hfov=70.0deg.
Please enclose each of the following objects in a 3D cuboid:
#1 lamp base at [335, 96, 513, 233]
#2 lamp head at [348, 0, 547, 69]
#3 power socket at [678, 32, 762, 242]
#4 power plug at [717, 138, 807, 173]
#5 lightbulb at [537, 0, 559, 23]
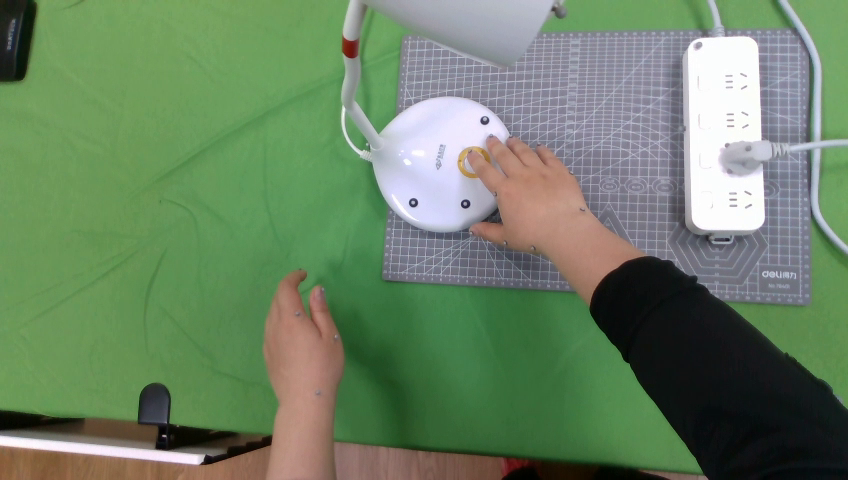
[{"bbox_3d":[-0.007,-0.099,0.618,0.179,0.181,0.160,-2,81,13],"label":"lamp base"},{"bbox_3d":[0.000,-0.157,0.321,0.123,0.112,0.112,7,82,-10],"label":"lamp head"},{"bbox_3d":[0.309,-0.112,0.636,0.072,0.033,0.226,0,81,10],"label":"power socket"},{"bbox_3d":[0.333,-0.081,0.607,0.072,0.053,0.035,12,84,10],"label":"power plug"},{"bbox_3d":[0.024,-0.150,0.321,0.108,0.059,0.059,15,84,-15],"label":"lightbulb"}]
